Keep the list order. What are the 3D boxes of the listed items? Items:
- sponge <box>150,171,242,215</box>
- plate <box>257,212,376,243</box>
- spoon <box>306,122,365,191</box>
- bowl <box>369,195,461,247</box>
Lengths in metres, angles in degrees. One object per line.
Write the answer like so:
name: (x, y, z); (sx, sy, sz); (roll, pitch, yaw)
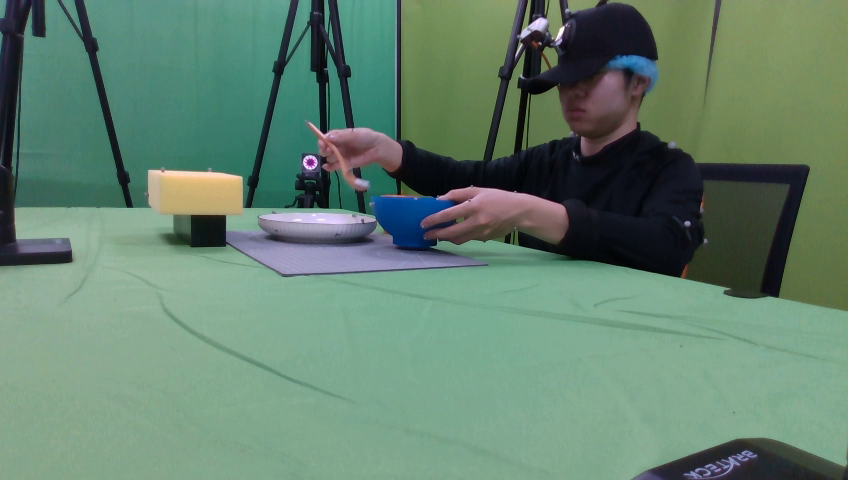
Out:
sponge: (-0.379, -0.079, 0.994); (0.119, 0.061, 0.206); (-1, 8, -29)
plate: (-0.189, -0.023, 1.072); (0.209, 0.038, 0.209); (3, 7, 0)
spoon: (-0.163, -0.152, 1.091); (0.193, 0.021, 0.042); (55, 21, 25)
bowl: (-0.016, -0.031, 0.988); (0.151, 0.077, 0.151); (2, 6, 0)
